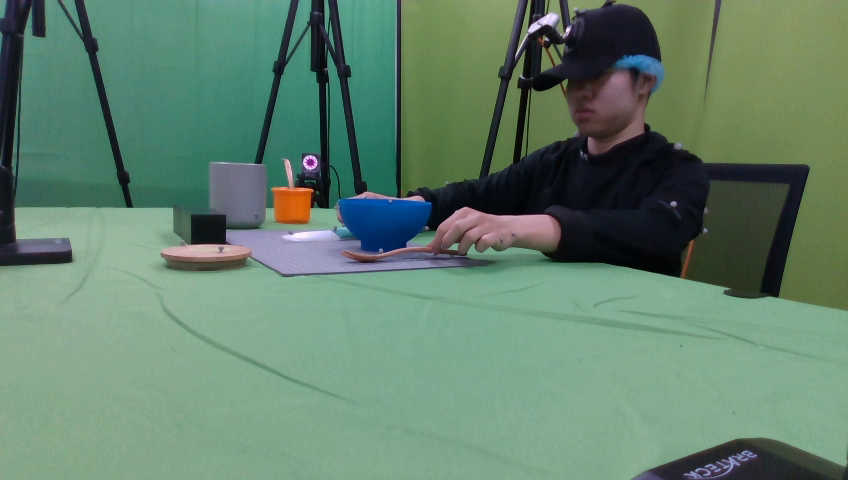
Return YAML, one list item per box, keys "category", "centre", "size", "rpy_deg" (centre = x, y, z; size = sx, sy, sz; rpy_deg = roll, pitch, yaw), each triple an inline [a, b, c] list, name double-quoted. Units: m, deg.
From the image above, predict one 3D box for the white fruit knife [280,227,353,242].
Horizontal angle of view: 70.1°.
- category: "white fruit knife"
  centre: [-0.153, -0.010, 1.051]
  size: [0.208, 0.027, 0.016]
  rpy_deg: [-4, -33, -40]

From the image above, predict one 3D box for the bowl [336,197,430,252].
- category: "bowl"
  centre: [-0.066, -0.024, 0.967]
  size: [0.151, 0.077, 0.151]
  rpy_deg: [3, 7, 0]

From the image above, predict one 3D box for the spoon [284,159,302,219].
- category: "spoon"
  centre: [-0.302, -0.118, 1.370]
  size: [0.042, 0.193, 0.021]
  rpy_deg: [4, -39, -24]

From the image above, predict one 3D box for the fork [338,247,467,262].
- category: "fork"
  centre: [-0.024, 0.020, 0.864]
  size: [0.208, 0.018, 0.028]
  rpy_deg: [-3, -13, -32]

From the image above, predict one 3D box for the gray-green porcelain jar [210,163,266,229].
- category: "gray-green porcelain jar"
  centre: [-0.367, -0.088, 1.195]
  size: [0.106, 0.126, 0.106]
  rpy_deg: [3, 8, 0]

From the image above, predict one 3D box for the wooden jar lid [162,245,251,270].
- category: "wooden jar lid"
  centre: [-0.278, 0.022, 0.777]
  size: [0.108, 0.020, 0.108]
  rpy_deg: [2, 6, 0]
